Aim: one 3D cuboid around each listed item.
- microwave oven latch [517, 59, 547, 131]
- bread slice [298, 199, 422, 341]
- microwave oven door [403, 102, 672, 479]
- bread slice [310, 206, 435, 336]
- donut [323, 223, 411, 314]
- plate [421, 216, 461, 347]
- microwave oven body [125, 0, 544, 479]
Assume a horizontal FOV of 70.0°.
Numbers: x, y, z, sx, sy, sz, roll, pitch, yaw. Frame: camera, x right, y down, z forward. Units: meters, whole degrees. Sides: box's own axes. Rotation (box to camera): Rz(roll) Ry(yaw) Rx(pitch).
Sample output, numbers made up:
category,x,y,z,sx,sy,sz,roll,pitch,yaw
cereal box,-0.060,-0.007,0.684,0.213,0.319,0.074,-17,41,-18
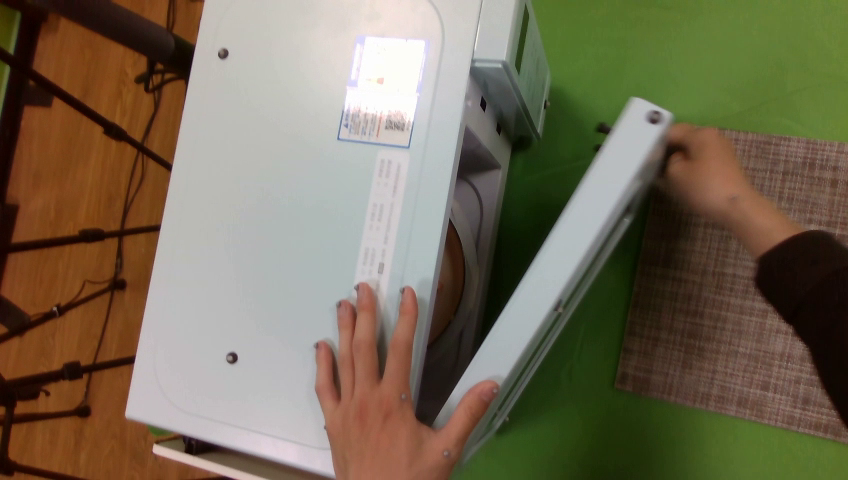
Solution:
category,x,y,z,sx,sy,sz,roll,pitch,yaw
microwave oven latch,0.122,-0.166,0.691,0.030,0.029,0.079,10,89,17
bread slice,-0.077,0.026,0.628,0.105,0.019,0.131,-33,79,15
microwave oven door,0.111,0.062,0.568,0.039,0.245,0.356,33,95,18
bread slice,-0.066,0.028,0.674,0.107,0.018,0.133,-35,70,-1
donut,-0.062,0.031,0.652,0.099,0.048,0.099,-1,85,13
plate,-0.057,0.035,0.681,0.207,0.039,0.207,-1,85,15
microwave oven body,-0.077,-0.024,0.638,0.325,0.261,0.441,9,88,17
